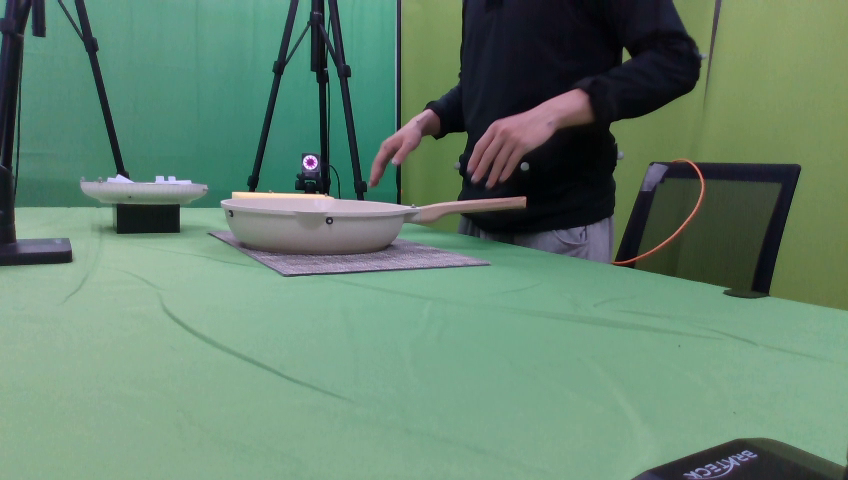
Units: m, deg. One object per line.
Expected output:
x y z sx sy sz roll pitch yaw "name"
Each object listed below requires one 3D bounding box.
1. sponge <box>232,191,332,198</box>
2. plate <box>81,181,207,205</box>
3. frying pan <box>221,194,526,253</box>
-0.318 -0.074 1.355 0.208 0.061 0.117 0 8 -24 "sponge"
-0.504 -0.086 1.100 0.208 0.039 0.207 1 6 0 "plate"
-0.070 -0.043 0.984 0.489 0.102 0.306 -7 9 -5 "frying pan"
